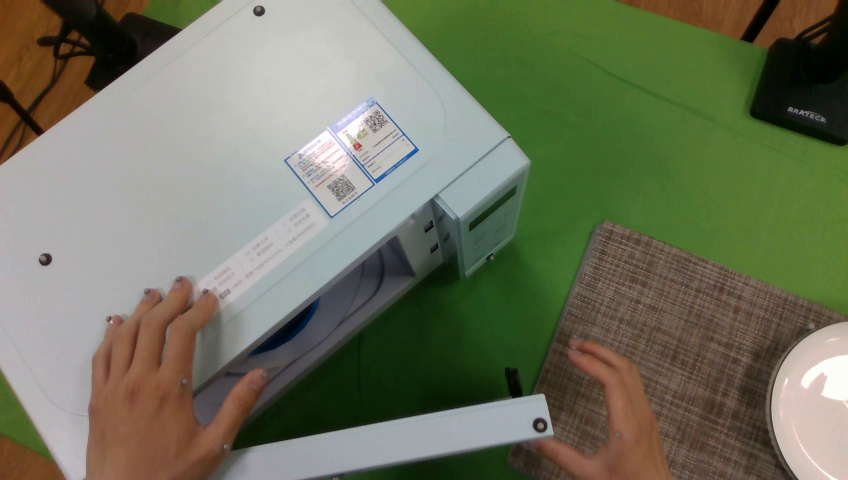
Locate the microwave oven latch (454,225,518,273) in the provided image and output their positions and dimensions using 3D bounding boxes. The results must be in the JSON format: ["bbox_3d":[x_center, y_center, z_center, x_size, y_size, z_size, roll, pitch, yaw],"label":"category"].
[{"bbox_3d":[0.071,0.003,0.698,0.079,0.029,0.030,-37,76,-5],"label":"microwave oven latch"}]

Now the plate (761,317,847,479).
[{"bbox_3d":[0.458,0.186,0.635,0.207,0.039,0.206,-1,76,4],"label":"plate"}]

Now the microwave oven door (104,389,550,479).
[{"bbox_3d":[-0.075,0.186,0.555,0.356,0.245,0.039,-11,75,1],"label":"microwave oven door"}]

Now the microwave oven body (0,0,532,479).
[{"bbox_3d":[-0.168,-0.019,0.621,0.441,0.261,0.324,-39,76,-5],"label":"microwave oven body"}]
